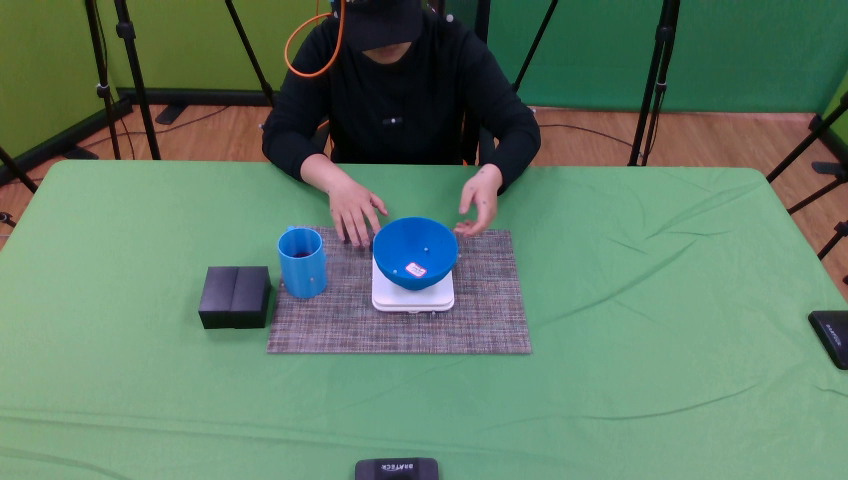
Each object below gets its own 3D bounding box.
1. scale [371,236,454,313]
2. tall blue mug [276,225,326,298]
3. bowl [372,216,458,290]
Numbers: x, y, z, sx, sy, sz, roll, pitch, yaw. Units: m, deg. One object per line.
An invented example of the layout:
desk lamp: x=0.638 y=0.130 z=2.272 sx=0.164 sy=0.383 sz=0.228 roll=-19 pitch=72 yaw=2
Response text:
scale: x=-0.023 y=0.051 z=1.134 sx=0.149 sy=0.032 sz=0.199 roll=1 pitch=46 yaw=-4
tall blue mug: x=-0.228 y=0.033 z=1.083 sx=0.107 sy=0.108 sz=0.077 roll=30 pitch=52 yaw=23
bowl: x=-0.016 y=0.036 z=1.075 sx=0.151 sy=0.077 sz=0.150 roll=2 pitch=46 yaw=-1
